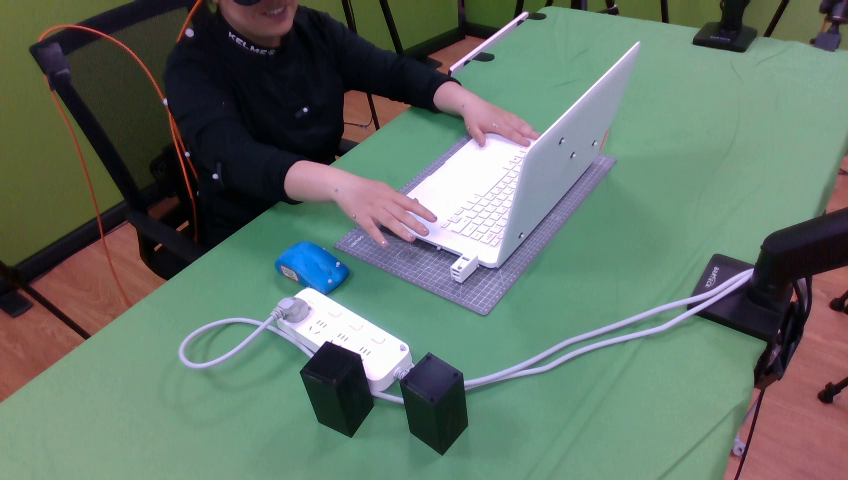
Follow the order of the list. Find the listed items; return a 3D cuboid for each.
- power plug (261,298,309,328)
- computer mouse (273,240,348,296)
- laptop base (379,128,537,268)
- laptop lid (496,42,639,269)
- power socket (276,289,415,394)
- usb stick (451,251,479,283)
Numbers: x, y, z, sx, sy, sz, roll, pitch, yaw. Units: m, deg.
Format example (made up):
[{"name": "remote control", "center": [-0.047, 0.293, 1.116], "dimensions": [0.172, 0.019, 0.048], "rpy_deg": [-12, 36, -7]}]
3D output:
[{"name": "power plug", "center": [-0.192, 0.107, 0.831], "dimensions": [0.073, 0.053, 0.035], "rpy_deg": [-32, 43, -25]}, {"name": "computer mouse", "center": [-0.176, 0.040, 0.935], "dimensions": [0.116, 0.041, 0.063], "rpy_deg": [27, 49, 27]}, {"name": "laptop base", "center": [0.118, -0.089, 1.058], "dimensions": [0.233, 0.023, 0.355], "rpy_deg": [19, 47, 33]}, {"name": "laptop lid", "center": [0.220, -0.130, 0.913], "dimensions": [0.013, 0.242, 0.357], "rpy_deg": [31, 51, 21]}, {"name": "power socket", "center": [-0.114, 0.133, 0.821], "dimensions": [0.225, 0.033, 0.072], "rpy_deg": [25, 49, 33]}, {"name": "usb stick", "center": [0.065, 0.036, 0.900], "dimensions": [0.021, 0.027, 0.059], "rpy_deg": [24, 46, 32]}]
